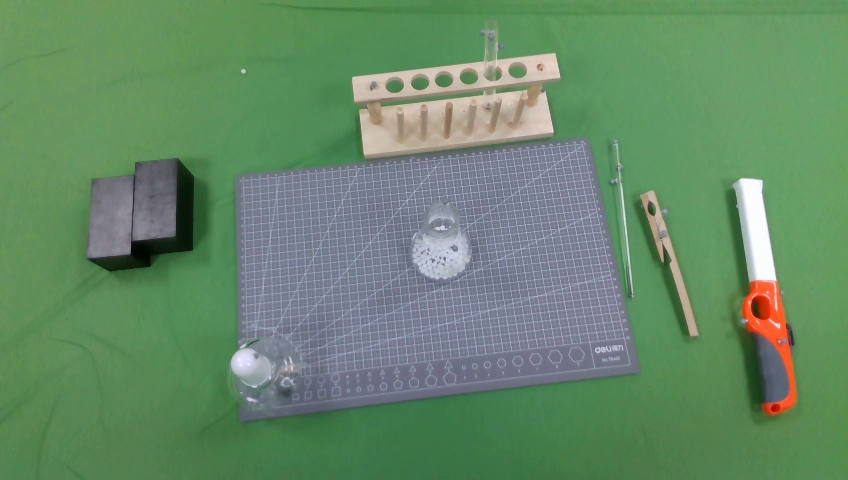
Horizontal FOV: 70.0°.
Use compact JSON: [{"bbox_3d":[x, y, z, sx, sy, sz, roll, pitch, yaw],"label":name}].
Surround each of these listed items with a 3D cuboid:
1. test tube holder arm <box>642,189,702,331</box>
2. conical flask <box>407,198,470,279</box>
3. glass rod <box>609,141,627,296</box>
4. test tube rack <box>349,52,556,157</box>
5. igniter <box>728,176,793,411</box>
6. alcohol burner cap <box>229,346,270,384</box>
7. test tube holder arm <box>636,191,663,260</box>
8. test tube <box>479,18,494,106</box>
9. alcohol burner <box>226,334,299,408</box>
[{"bbox_3d":[0.291,0.021,0.716,0.013,0.015,0.177,-26,69,30],"label":"test tube holder arm"},{"bbox_3d":[0.016,-0.006,0.671,0.075,0.122,0.075,0,72,1],"label":"conical flask"},{"bbox_3d":[0.237,-0.030,0.739,0.008,0.008,0.198,0,74,0],"label":"glass rod"},{"bbox_3d":[0.036,-0.164,0.745,0.242,0.085,0.066,-7,72,-2],"label":"test tube rack"},{"bbox_3d":[0.388,0.055,0.701,0.057,0.025,0.275,4,72,-8],"label":"igniter"},{"bbox_3d":[-0.175,0.121,0.599,0.034,0.048,0.033,-1,63,2],"label":"alcohol burner cap"},{"bbox_3d":[0.276,-0.018,0.732,0.010,0.015,0.087,-24,70,31],"label":"test tube holder arm"},{"bbox_3d":[0.072,-0.202,0.704,0.017,0.151,0.017,-2,70,5],"label":"test tube"},{"bbox_3d":[-0.173,0.134,0.632,0.078,0.120,0.077,-1,71,2],"label":"alcohol burner"}]
